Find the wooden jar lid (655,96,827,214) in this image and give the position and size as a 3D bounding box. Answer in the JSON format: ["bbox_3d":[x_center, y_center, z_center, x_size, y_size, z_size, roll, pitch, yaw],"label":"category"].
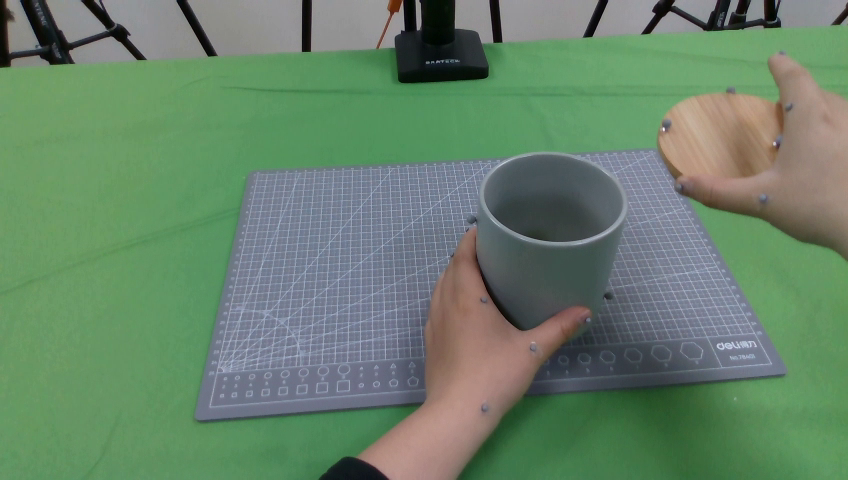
[{"bbox_3d":[0.213,-0.057,0.414,0.108,0.021,0.107,-2,50,3],"label":"wooden jar lid"}]

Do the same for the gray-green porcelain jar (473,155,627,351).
[{"bbox_3d":[0.092,0.015,0.471,0.106,0.127,0.105,-1,44,1],"label":"gray-green porcelain jar"}]
